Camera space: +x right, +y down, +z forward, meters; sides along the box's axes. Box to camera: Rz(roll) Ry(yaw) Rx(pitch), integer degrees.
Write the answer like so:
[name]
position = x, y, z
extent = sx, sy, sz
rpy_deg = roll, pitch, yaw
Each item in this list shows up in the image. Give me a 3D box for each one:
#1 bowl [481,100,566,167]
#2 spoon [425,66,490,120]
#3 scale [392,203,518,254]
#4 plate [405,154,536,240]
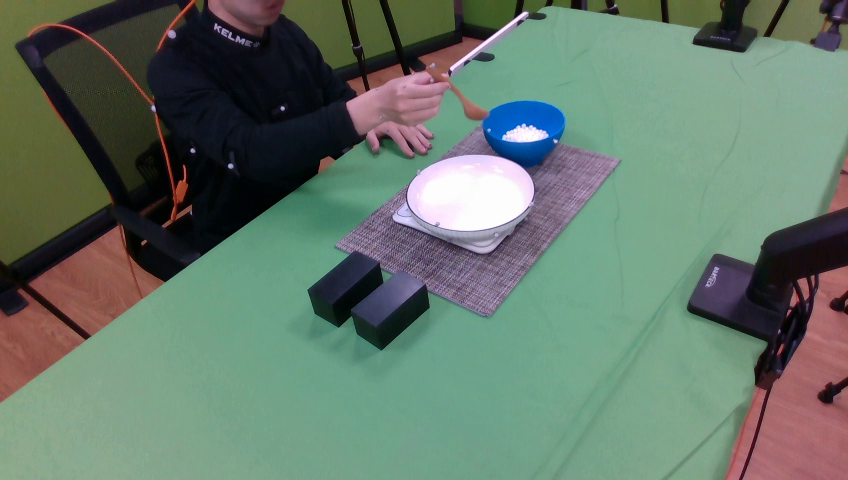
[bowl]
position = 0.183, -0.186, 1.111
extent = 0.151, 0.077, 0.150
rpy_deg = -4, 41, 4
[spoon]
position = 0.054, -0.240, 0.996
extent = 0.041, 0.195, 0.021
rpy_deg = -7, 69, 32
[scale]
position = 0.060, -0.050, 1.006
extent = 0.199, 0.032, 0.149
rpy_deg = 22, 48, 30
[plate]
position = 0.075, -0.067, 0.973
extent = 0.209, 0.038, 0.208
rpy_deg = -4, 41, 4
